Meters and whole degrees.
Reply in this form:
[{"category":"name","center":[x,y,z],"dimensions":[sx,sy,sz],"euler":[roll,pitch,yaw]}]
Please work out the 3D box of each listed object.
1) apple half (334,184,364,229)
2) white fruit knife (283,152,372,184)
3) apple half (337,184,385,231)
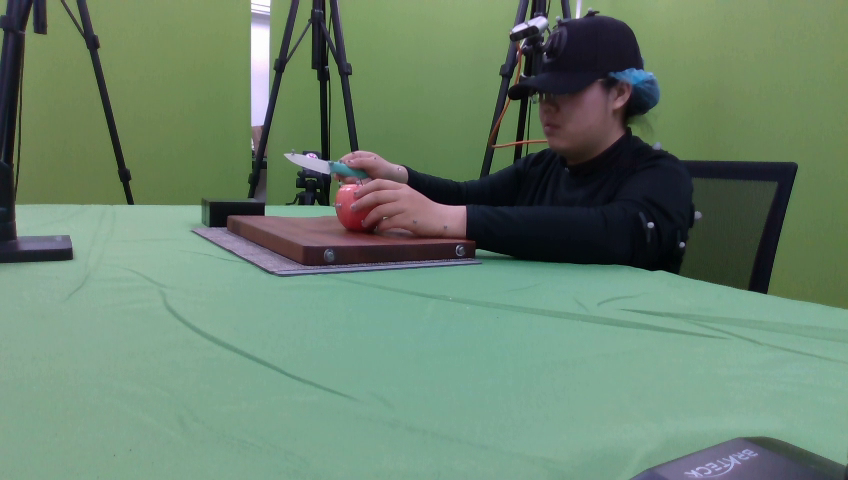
[{"category":"apple half","center":[-0.121,-0.056,0.973],"dimensions":[0.032,0.081,0.082],"euler":[14,13,38]},{"category":"white fruit knife","center":[-0.168,-0.131,1.089],"dimensions":[0.016,0.027,0.208],"euler":[13,2,40]},{"category":"apple half","center":[-0.091,-0.050,0.949],"dimensions":[0.053,0.074,0.081],"euler":[14,9,38]}]
